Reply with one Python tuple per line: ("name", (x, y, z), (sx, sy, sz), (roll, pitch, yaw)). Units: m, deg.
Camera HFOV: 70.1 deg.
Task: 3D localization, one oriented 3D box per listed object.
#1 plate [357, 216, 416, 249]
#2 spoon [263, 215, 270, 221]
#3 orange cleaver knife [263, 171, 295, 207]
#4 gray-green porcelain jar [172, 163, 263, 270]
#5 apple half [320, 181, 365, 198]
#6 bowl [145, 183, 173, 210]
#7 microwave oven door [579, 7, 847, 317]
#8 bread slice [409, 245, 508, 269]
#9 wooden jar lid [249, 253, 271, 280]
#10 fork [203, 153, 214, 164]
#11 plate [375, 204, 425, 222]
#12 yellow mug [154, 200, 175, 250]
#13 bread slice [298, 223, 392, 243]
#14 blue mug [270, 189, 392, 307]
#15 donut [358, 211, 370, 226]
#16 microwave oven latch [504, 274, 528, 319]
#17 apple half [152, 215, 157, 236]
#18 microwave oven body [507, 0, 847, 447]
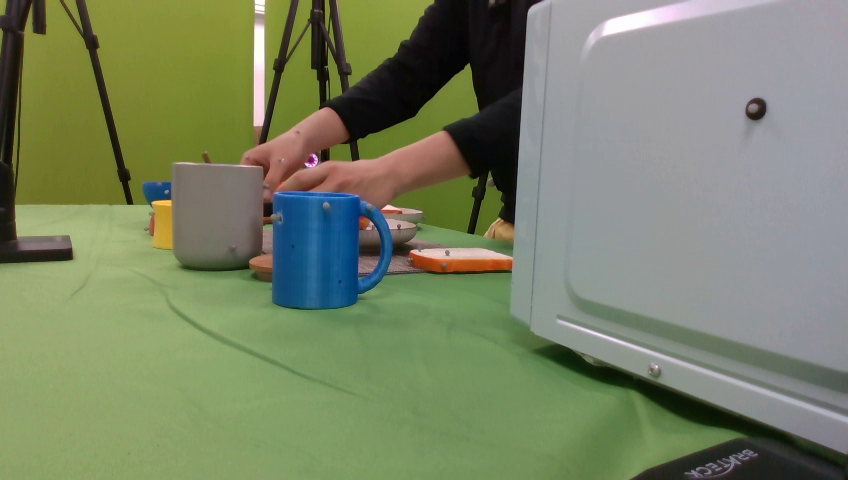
("plate", (-0.116, -0.014, 0.967), (0.208, 0.039, 0.207), (2, 7, 0))
("spoon", (-0.200, -0.032, 0.962), (0.041, 0.021, 0.195), (4, -1, 32))
("orange cleaver knife", (-0.283, -0.087, 1.343), (0.212, 0.077, 0.012), (24, -16, -41))
("gray-green porcelain jar", (-0.254, -0.031, 0.751), (0.106, 0.126, 0.106), (1, 7, 0))
("apple half", (-0.130, -0.076, 0.952), (0.081, 0.033, 0.081), (3, 13, 0))
("bowl", (-0.459, -0.069, 1.175), (0.151, 0.077, 0.151), (3, 7, 0))
("microwave oven door", (0.294, -0.067, 0.571), (0.358, 0.243, 0.039), (-3, 9, -31))
("bread slice", (0.048, 0.022, 0.816), (0.132, 0.019, 0.104), (0, 7, -24))
("wooden jar lid", (-0.148, 0.029, 0.708), (0.108, 0.020, 0.108), (-1, 9, 0))
("fork", (-0.480, -0.135, 1.411), (0.028, 0.018, 0.207), (1, -34, 0))
("plate", (-0.102, -0.053, 1.299), (0.209, 0.038, 0.209), (2, 8, 0))
("yellow mug", (-0.337, -0.022, 0.899), (0.130, 0.064, 0.100), (8, 9, 34))
("bread slice", (-0.120, -0.013, 0.970), (0.106, 0.018, 0.135), (10, 11, 41))
("blue mug", (-0.090, 0.005, 0.588), (0.117, 0.106, 0.082), (0, 7, -11))
("donut", (-0.133, -0.042, 0.959), (0.099, 0.048, 0.099), (1, 7, 0))
("microwave oven latch", (0.100, 0.041, 0.470), (0.079, 0.029, 0.030), (-1, 7, -27))
("apple half", (-0.415, -0.034, 1.017), (0.081, 0.053, 0.074), (1, 10, -9))
("microwave oven body", (0.331, -0.042, 0.425), (0.444, 0.260, 0.324), (-2, 8, -31))
